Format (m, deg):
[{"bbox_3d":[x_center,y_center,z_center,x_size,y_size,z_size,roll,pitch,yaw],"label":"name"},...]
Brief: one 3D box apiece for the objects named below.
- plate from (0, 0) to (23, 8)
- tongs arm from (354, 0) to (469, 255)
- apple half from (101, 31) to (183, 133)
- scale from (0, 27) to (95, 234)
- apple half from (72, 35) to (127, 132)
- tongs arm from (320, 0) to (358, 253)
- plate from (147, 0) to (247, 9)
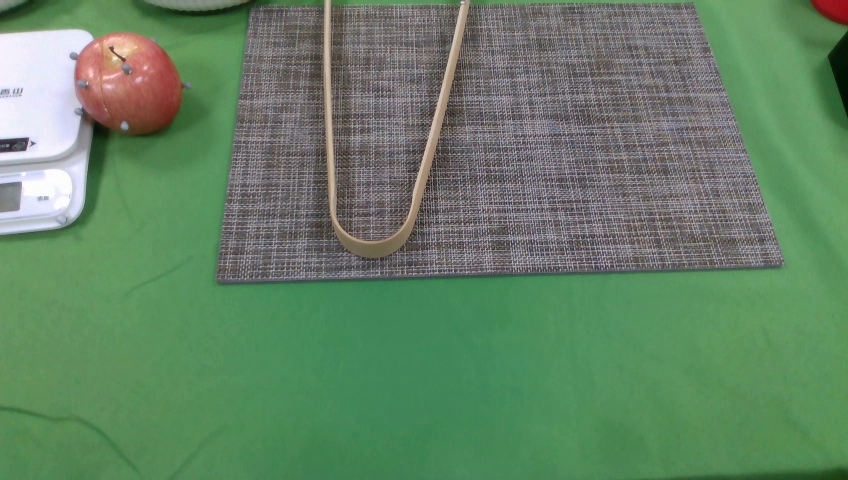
[{"bbox_3d":[-0.446,-0.298,0.611,0.208,0.039,0.206,1,62,-1],"label":"plate"},{"bbox_3d":[0.003,-0.158,0.552,0.051,0.027,0.382,10,63,2],"label":"tongs arm"},{"bbox_3d":[-0.233,-0.132,0.511,0.053,0.075,0.080,-9,59,-9],"label":"apple half"},{"bbox_3d":[-0.357,-0.096,0.511,0.149,0.032,0.199,-6,63,-5],"label":"scale"},{"bbox_3d":[-0.271,-0.125,0.505,0.033,0.082,0.080,-9,63,-10],"label":"apple half"},{"bbox_3d":[-0.081,-0.164,0.554,0.028,0.028,0.384,-2,62,-7],"label":"tongs arm"},{"bbox_3d":[-0.221,-0.308,0.624,0.209,0.038,0.207,1,62,-1],"label":"plate"}]
